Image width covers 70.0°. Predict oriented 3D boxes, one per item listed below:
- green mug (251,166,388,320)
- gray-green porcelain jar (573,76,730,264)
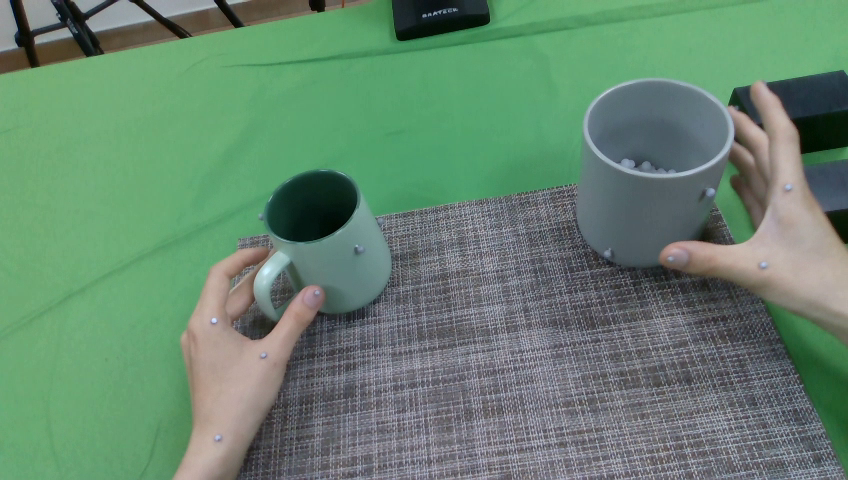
[{"bbox_3d":[-0.093,0.013,0.508,0.092,0.106,0.125,27,63,26],"label":"green mug"},{"bbox_3d":[0.176,-0.049,0.490,0.106,0.128,0.105,-5,53,7],"label":"gray-green porcelain jar"}]
